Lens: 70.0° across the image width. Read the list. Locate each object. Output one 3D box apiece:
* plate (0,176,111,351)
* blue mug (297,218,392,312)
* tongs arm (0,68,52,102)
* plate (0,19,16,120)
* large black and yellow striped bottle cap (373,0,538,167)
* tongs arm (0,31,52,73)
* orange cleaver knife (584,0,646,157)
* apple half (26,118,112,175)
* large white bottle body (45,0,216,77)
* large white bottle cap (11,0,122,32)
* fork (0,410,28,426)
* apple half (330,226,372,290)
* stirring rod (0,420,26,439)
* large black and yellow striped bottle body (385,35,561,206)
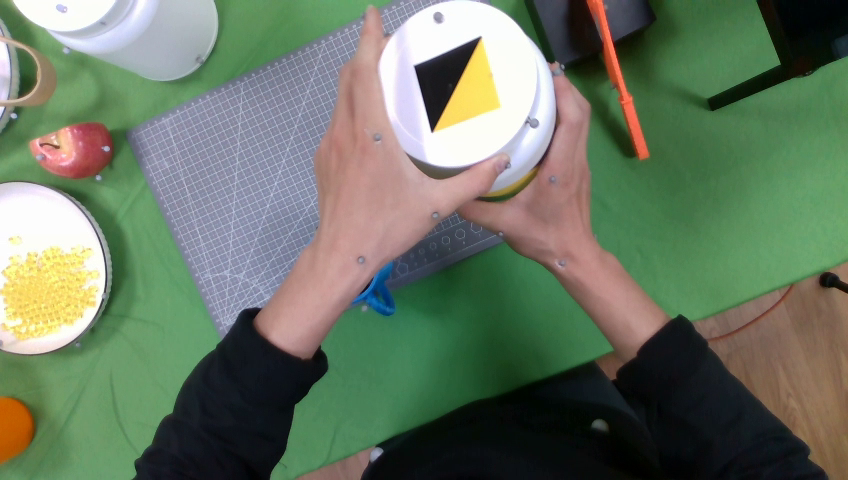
[{"bbox_3d":[-0.472,0.027,0.726,0.209,0.038,0.209,0,95,4],"label":"plate"},{"bbox_3d":[-0.074,0.031,0.664,0.082,0.106,0.116,-39,91,6],"label":"blue mug"},{"bbox_3d":[-0.610,-0.180,0.685,0.384,0.026,0.051,5,91,5],"label":"tongs arm"},{"bbox_3d":[-0.576,-0.205,0.713,0.207,0.039,0.208,0,95,4],"label":"plate"},{"bbox_3d":[0.021,-0.109,0.419,0.114,0.019,0.115,0,88,14],"label":"large black and yellow striped bottle cap"},{"bbox_3d":[-0.595,-0.262,0.679,0.387,0.028,0.028,19,89,4],"label":"tongs arm"},{"bbox_3d":[0.198,-0.187,0.642,0.012,0.076,0.213,-21,119,14],"label":"orange cleaver knife"},{"bbox_3d":[-0.398,-0.102,0.693,0.081,0.074,0.053,-19,96,1],"label":"apple half"},{"bbox_3d":[-0.310,-0.250,0.619,0.130,0.184,0.130,0,94,4],"label":"large white bottle body"},{"bbox_3d":[-0.317,-0.244,0.534,0.115,0.018,0.115,0,95,5],"label":"large white bottle cap"},{"bbox_3d":[-0.577,0.234,0.694,0.208,0.018,0.028,-9,94,-39],"label":"fork"},{"bbox_3d":[-0.073,0.020,0.657,0.032,0.081,0.081,9,95,11],"label":"apple half"},{"bbox_3d":[-0.561,0.249,0.696,0.177,0.006,0.014,-17,81,-35],"label":"stirring rod"},{"bbox_3d":[0.043,-0.102,0.500,0.130,0.185,0.130,-1,86,15],"label":"large black and yellow striped bottle body"}]
